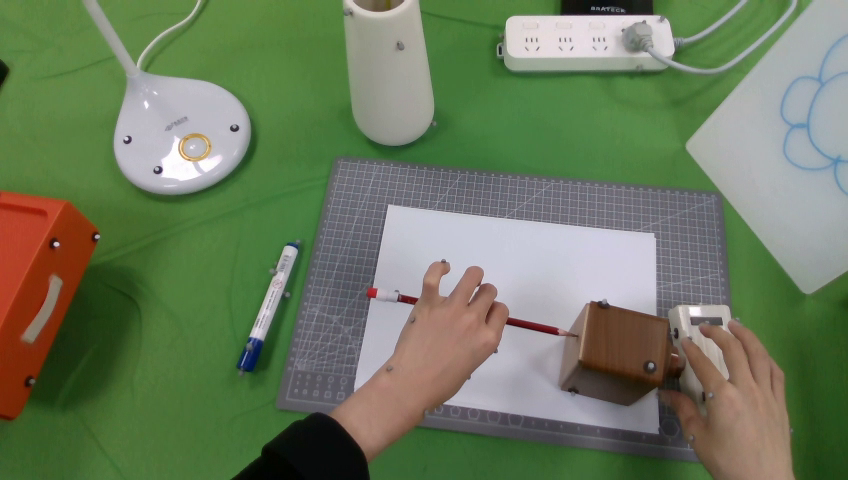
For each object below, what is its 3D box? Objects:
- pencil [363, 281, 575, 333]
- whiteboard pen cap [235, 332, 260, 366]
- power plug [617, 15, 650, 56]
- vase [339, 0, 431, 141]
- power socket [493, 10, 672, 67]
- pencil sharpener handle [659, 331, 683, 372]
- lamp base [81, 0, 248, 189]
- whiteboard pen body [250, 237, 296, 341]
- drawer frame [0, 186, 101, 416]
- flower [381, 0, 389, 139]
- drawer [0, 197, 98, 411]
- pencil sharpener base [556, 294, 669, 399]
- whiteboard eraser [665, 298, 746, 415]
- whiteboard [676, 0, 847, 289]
[{"bbox_3d":[0.040,0.062,0.543,0.194,0.012,0.012,12,65,1],"label":"pencil"},{"bbox_3d":[-0.176,0.109,0.609,0.018,0.018,0.033,10,60,6],"label":"whiteboard pen cap"},{"bbox_3d":[0.252,-0.240,0.737,0.035,0.053,0.072,10,67,6],"label":"power plug"},{"bbox_3d":[-0.044,-0.196,0.657,0.098,0.201,0.097,-1,64,3],"label":"vase"},{"bbox_3d":[0.202,-0.257,0.772,0.227,0.033,0.071,1,66,1],"label":"power socket"},{"bbox_3d":[0.222,0.106,0.545,0.030,0.068,0.036,12,72,7],"label":"pencil sharpener handle"},{"bbox_3d":[-0.303,-0.171,0.660,0.178,0.182,0.160,37,70,20],"label":"lamp base"},{"bbox_3d":[-0.162,0.059,0.637,0.017,0.017,0.140,10,62,6],"label":"whiteboard pen body"},{"bbox_3d":[-0.458,0.044,0.571,0.213,0.083,0.200,9,66,3],"label":"drawer frame"},{"bbox_3d":[-0.038,-0.247,0.590,0.038,0.365,0.043,-5,46,-9],"label":"flower"},{"bbox_3d":[-0.452,0.043,0.569,0.211,0.074,0.193,9,66,5],"label":"drawer"},{"bbox_3d":[0.172,0.102,0.561,0.076,0.108,0.061,12,65,7],"label":"pencil sharpener base"},{"bbox_3d":[0.272,0.113,0.590,0.055,0.042,0.112,1,65,0],"label":"whiteboard eraser"},{"bbox_3d":[0.448,-0.131,0.592,0.144,0.307,0.215,-16,63,-27],"label":"whiteboard"}]
